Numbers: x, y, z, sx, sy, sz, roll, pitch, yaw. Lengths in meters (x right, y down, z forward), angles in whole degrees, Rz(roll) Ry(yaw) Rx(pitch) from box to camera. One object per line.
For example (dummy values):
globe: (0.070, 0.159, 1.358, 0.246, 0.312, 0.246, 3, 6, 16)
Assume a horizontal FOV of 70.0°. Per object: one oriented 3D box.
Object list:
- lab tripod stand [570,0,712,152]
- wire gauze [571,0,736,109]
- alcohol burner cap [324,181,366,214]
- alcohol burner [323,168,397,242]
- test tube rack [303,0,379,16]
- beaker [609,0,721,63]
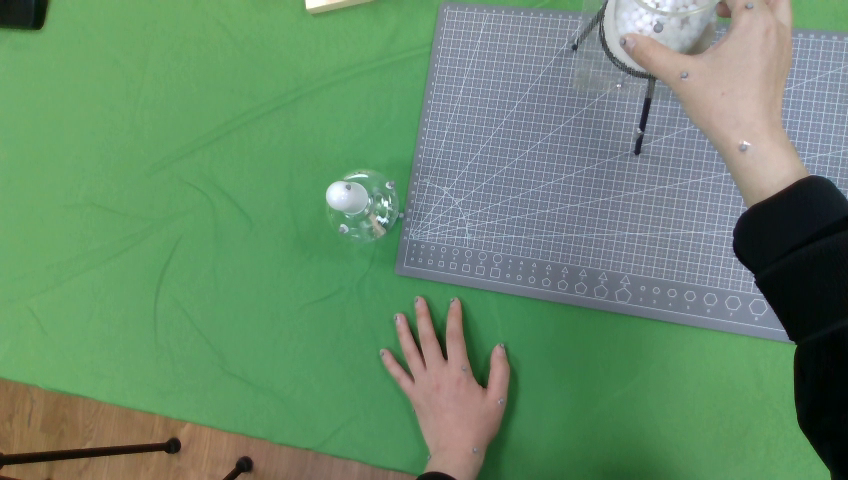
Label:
lab tripod stand: (0.199, -0.166, 0.549, 0.148, 0.132, 0.148, -1, 87, 11)
wire gauze: (0.186, -0.172, 0.485, 0.125, 0.011, 0.121, 8, 91, 10)
alcohol burner cap: (-0.077, -0.042, 0.574, 0.034, 0.048, 0.034, 0, 89, 12)
alcohol burner: (-0.069, -0.038, 0.609, 0.078, 0.119, 0.077, -1, 83, 11)
test tube rack: (-0.027, -0.310, 0.634, 0.242, 0.085, 0.066, -8, 83, 11)
beaker: (0.171, -0.178, 0.439, 0.083, 0.100, 0.074, 23, 91, 13)
